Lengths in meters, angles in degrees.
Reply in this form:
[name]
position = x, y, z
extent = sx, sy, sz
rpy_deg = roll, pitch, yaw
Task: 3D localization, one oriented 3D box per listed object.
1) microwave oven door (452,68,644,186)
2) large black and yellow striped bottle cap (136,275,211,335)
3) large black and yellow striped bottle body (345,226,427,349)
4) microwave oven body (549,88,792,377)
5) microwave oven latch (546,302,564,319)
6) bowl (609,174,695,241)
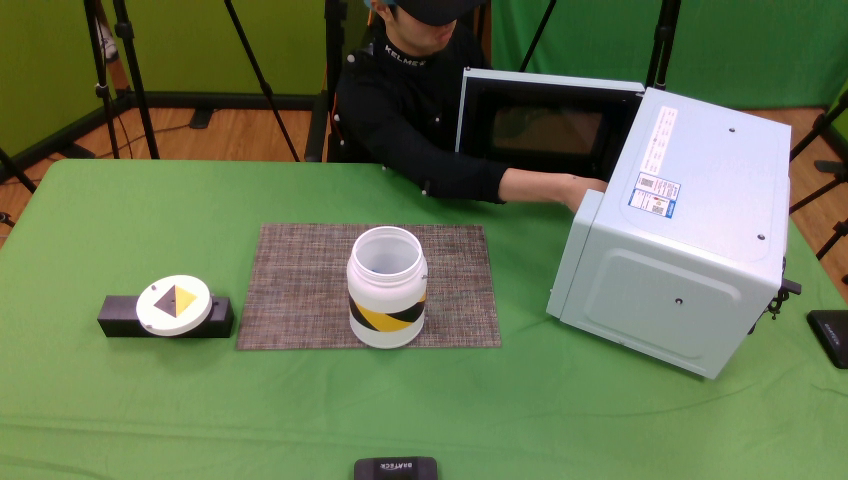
[microwave oven door]
position = 0.246, -0.230, 1.260
extent = 0.356, 0.245, 0.039
rpy_deg = 5, 46, 1
[large black and yellow striped bottle cap]
position = -0.412, 0.105, 0.998
extent = 0.115, 0.019, 0.114
rpy_deg = 3, 46, -3
[large black and yellow striped bottle body]
position = -0.062, 0.078, 0.998
extent = 0.131, 0.185, 0.130
rpy_deg = 2, 46, -2
[microwave oven body]
position = 0.456, -0.028, 1.088
extent = 0.325, 0.261, 0.440
rpy_deg = 20, 47, 16
[microwave oven latch]
position = 0.242, 0.102, 1.081
extent = 0.030, 0.029, 0.079
rpy_deg = 21, 48, 17
[bowl]
position = 0.425, -0.051, 1.142
extent = 0.151, 0.077, 0.150
rpy_deg = -6, 38, 5
